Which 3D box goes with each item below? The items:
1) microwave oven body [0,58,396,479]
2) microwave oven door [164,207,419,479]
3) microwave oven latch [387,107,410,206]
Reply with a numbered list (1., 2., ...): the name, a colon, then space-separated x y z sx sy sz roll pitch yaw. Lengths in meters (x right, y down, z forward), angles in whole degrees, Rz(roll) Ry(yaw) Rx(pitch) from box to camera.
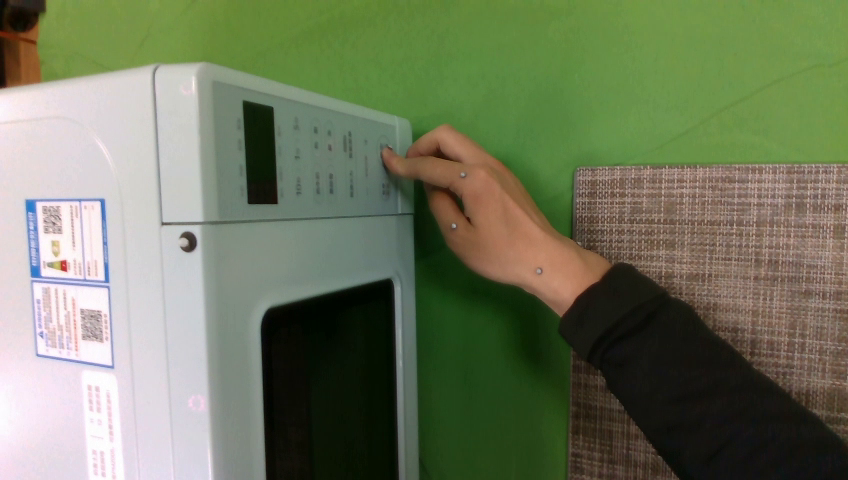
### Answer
1. microwave oven body: -0.202 0.113 0.485 0.324 0.261 0.442 1 96 24
2. microwave oven door: -0.070 0.157 0.424 0.039 0.244 0.356 1 95 25
3. microwave oven latch: -0.029 -0.068 0.496 0.030 0.029 0.079 0 96 24
